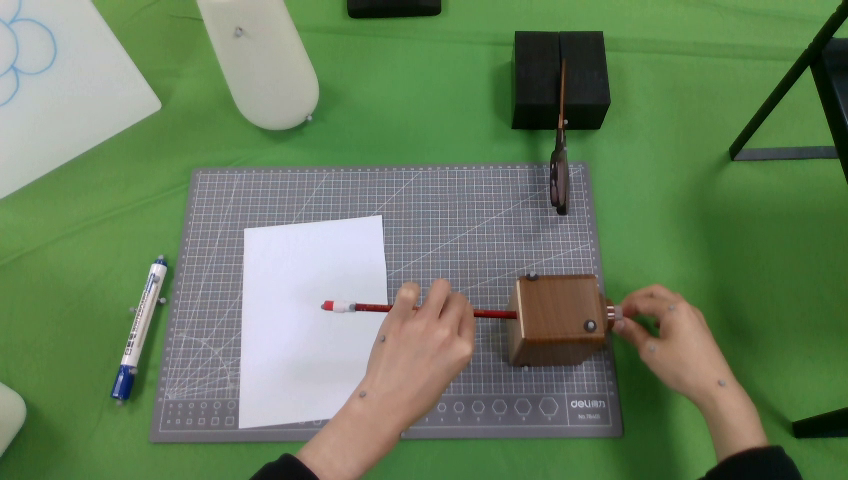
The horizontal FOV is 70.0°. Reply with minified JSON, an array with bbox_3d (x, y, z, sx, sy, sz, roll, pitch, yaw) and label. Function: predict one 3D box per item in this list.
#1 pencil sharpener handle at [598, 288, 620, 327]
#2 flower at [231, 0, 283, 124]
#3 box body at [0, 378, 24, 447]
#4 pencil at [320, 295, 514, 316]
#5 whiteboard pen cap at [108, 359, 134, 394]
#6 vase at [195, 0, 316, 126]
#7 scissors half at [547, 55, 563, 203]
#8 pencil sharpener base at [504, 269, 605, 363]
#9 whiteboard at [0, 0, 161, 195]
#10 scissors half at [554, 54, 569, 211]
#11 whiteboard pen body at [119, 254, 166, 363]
[{"bbox_3d":[0.168,0.065,0.549,0.030,0.068,0.035,-2,69,0],"label":"pencil sharpener handle"},{"bbox_3d":[-0.187,-0.253,0.566,0.044,0.365,0.038,-8,49,2],"label":"flower"},{"bbox_3d":[-0.584,0.155,0.515,0.363,0.161,0.253,24,70,11],"label":"box body"},{"bbox_3d":[0.004,0.059,0.537,0.194,0.012,0.012,3,67,1],"label":"pencil"},{"bbox_3d":[-0.295,0.133,0.593,0.018,0.018,0.033,5,63,4],"label":"whiteboard pen cap"},{"bbox_3d":[-0.177,-0.208,0.637,0.098,0.201,0.097,-1,66,3],"label":"vase"},{"bbox_3d":[0.141,-0.122,0.639,0.013,0.040,0.174,0,69,21],"label":"scissors half"},{"bbox_3d":[0.118,0.073,0.560,0.077,0.108,0.061,-2,66,0],"label":"pencil sharpener base"},{"bbox_3d":[-0.472,-0.238,0.631,0.217,0.309,0.142,-33,51,-11],"label":"whiteboard"},{"bbox_3d":[0.149,-0.118,0.657,0.012,0.040,0.175,-1,86,26],"label":"scissors half"},{"bbox_3d":[-0.289,0.080,0.617,0.017,0.017,0.140,5,66,4],"label":"whiteboard pen body"}]
